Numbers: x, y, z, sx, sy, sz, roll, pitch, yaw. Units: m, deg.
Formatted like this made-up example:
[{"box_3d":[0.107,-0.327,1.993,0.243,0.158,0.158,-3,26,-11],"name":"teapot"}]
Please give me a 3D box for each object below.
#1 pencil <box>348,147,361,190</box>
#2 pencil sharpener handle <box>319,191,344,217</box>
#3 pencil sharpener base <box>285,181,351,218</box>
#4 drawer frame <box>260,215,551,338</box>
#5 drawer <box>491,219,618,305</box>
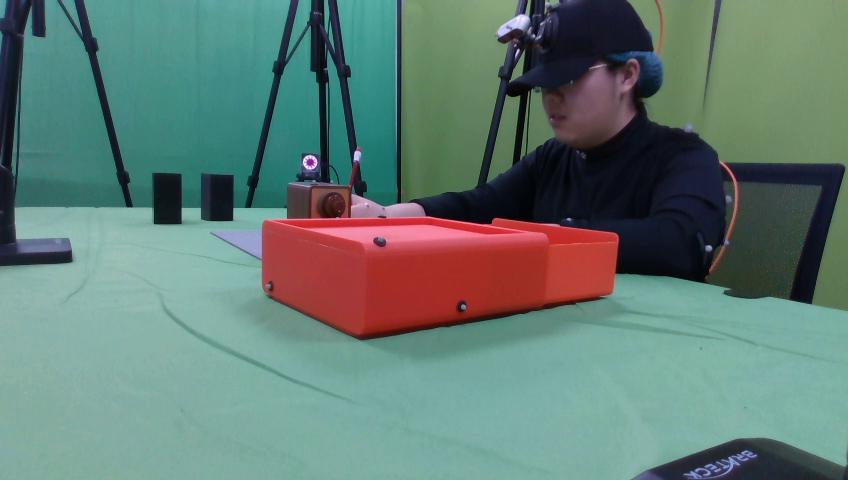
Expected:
[{"box_3d":[-0.133,-0.083,1.062,0.012,0.193,0.012,7,-28,4],"name":"pencil"},{"box_3d":[-0.107,-0.026,0.747,0.036,0.067,0.030,-5,11,-36],"name":"pencil sharpener handle"},{"box_3d":[-0.139,-0.021,0.789,0.062,0.107,0.076,-2,9,-36],"name":"pencil sharpener base"},{"box_3d":[-0.021,0.024,0.595,0.215,0.082,0.200,-4,10,-38],"name":"drawer frame"},{"box_3d":[0.071,0.021,0.669,0.213,0.073,0.193,-3,9,-39],"name":"drawer"}]
